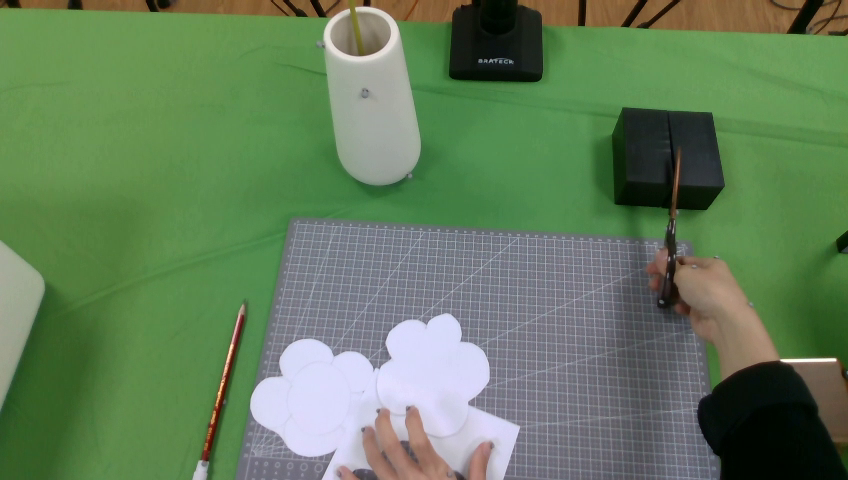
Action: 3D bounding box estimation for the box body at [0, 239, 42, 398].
[{"bbox_3d":[-0.538,0.144,0.522,0.254,0.161,0.361,3,64,3],"label":"box body"}]

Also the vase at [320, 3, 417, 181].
[{"bbox_3d":[-0.059,-0.148,0.639,0.098,0.201,0.097,-1,62,2],"label":"vase"}]

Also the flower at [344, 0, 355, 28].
[{"bbox_3d":[-0.066,-0.198,0.571,0.044,0.365,0.038,-3,46,3],"label":"flower"}]

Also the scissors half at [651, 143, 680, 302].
[{"bbox_3d":[0.257,-0.020,0.639,0.012,0.040,0.175,9,83,18],"label":"scissors half"}]

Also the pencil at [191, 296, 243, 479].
[{"bbox_3d":[-0.203,0.144,0.604,0.012,0.012,0.192,4,63,3],"label":"pencil"}]

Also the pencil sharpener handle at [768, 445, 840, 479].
[{"bbox_3d":[0.317,0.191,0.505,0.036,0.068,0.030,5,63,-12],"label":"pencil sharpener handle"}]

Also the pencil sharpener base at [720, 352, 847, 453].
[{"bbox_3d":[0.321,0.151,0.538,0.061,0.108,0.076,-1,64,0],"label":"pencil sharpener base"}]

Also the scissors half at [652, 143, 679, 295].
[{"bbox_3d":[0.252,-0.026,0.620,0.013,0.040,0.174,10,66,13],"label":"scissors half"}]
